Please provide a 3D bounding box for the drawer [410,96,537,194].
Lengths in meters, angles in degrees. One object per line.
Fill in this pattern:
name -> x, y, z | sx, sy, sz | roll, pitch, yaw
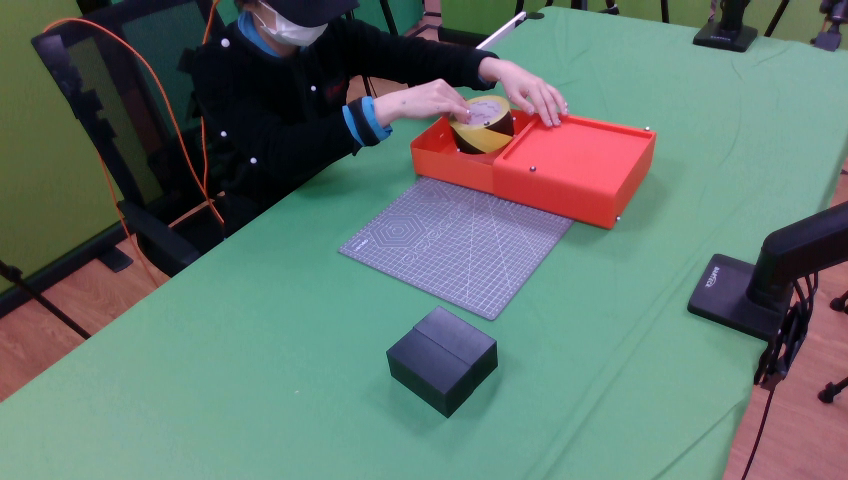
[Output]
drawer -> 0.114, -0.177, 1.114 | 0.210, 0.073, 0.195 | 19, 46, 29

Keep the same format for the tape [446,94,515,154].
tape -> 0.099, -0.203, 1.060 | 0.116, 0.053, 0.116 | -13, 38, 11

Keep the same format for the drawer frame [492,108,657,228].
drawer frame -> 0.255, -0.130, 1.032 | 0.212, 0.083, 0.202 | 19, 47, 27
